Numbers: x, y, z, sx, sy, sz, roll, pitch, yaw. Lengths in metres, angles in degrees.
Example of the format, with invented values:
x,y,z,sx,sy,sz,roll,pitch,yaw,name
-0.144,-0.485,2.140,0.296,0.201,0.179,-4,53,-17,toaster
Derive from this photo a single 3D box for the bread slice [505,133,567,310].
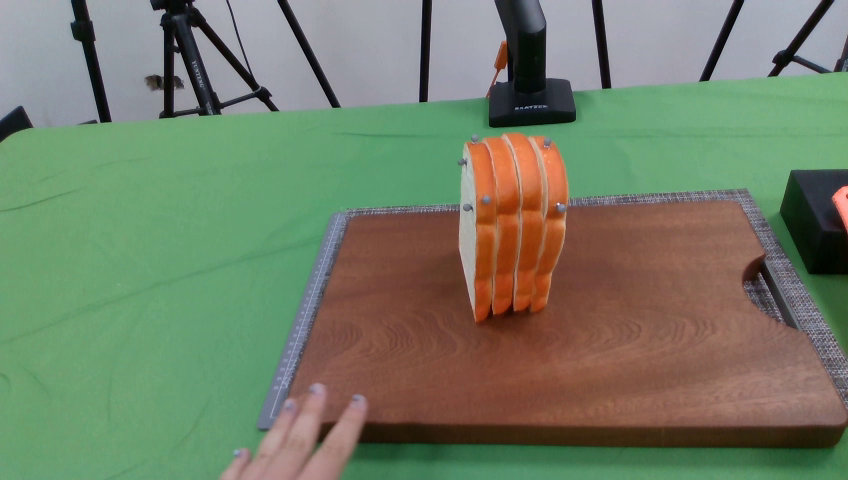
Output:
x,y,z,sx,sy,sz,roll,pitch,yaw,name
0.094,-0.021,0.515,0.019,0.132,0.104,-1,40,-6,bread slice

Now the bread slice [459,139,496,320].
x,y,z,sx,sy,sz,roll,pitch,yaw,name
0.044,-0.017,0.519,0.018,0.135,0.106,-4,35,-2,bread slice

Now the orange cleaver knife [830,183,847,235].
x,y,z,sx,sy,sz,roll,pitch,yaw,name
0.376,0.031,0.486,0.077,0.012,0.210,8,59,14,orange cleaver knife
